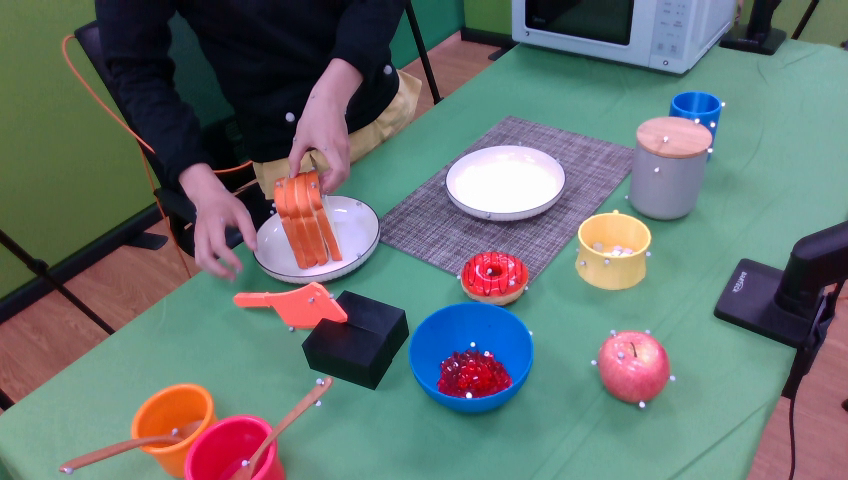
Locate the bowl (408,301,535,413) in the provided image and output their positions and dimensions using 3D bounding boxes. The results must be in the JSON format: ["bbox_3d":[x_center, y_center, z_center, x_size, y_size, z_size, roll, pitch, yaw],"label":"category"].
[{"bbox_3d":[0.060,0.156,0.739,0.151,0.077,0.150,-4,40,4],"label":"bowl"}]

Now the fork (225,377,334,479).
[{"bbox_3d":[-0.163,0.216,0.646,0.207,0.019,0.028,-49,43,16],"label":"fork"}]

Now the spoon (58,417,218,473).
[{"bbox_3d":[-0.304,0.221,0.661,0.041,0.195,0.021,19,92,27],"label":"spoon"}]

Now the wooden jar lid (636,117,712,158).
[{"bbox_3d":[0.377,-0.151,0.917,0.108,0.021,0.108,-2,41,3],"label":"wooden jar lid"}]

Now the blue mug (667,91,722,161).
[{"bbox_3d":[0.474,-0.207,1.079,0.082,0.106,0.116,4,42,13],"label":"blue mug"}]

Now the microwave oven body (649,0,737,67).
[{"bbox_3d":[0.475,-0.602,1.411,0.438,0.261,0.327,23,50,32],"label":"microwave oven body"}]

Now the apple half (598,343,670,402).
[{"bbox_3d":[0.247,0.161,0.710,0.081,0.075,0.053,2,47,5],"label":"apple half"}]

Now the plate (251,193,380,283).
[{"bbox_3d":[-0.173,-0.001,0.984,0.209,0.038,0.208,-4,41,4],"label":"plate"}]

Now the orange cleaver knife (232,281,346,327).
[{"bbox_3d":[-0.192,0.093,0.844,0.210,0.077,0.012,-7,31,38],"label":"orange cleaver knife"}]

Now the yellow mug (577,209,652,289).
[{"bbox_3d":[0.279,0.004,0.893,0.099,0.064,0.130,5,41,15],"label":"yellow mug"}]

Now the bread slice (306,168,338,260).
[{"bbox_3d":[-0.161,-0.045,0.953,0.018,0.135,0.106,-13,44,-5],"label":"bread slice"}]

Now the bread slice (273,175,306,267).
[{"bbox_3d":[-0.210,-0.037,0.948,0.019,0.132,0.104,-13,38,-2],"label":"bread slice"}]

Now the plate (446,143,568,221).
[{"bbox_3d":[0.142,-0.096,1.045,0.207,0.039,0.206,-4,40,4],"label":"plate"}]

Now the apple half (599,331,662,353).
[{"bbox_3d":[0.249,0.134,0.738,0.081,0.081,0.032,-2,46,7],"label":"apple half"}]

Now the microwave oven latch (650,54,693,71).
[{"bbox_3d":[0.531,-0.386,1.301,0.078,0.029,0.030,26,51,33],"label":"microwave oven latch"}]

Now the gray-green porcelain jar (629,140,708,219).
[{"bbox_3d":[0.383,-0.105,0.958,0.106,0.127,0.105,-4,41,4],"label":"gray-green porcelain jar"}]

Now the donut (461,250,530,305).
[{"bbox_3d":[0.103,0.053,0.872,0.099,0.048,0.098,-5,40,4],"label":"donut"}]

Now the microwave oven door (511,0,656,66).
[{"bbox_3d":[0.351,-0.539,1.348,0.353,0.245,0.039,24,50,31],"label":"microwave oven door"}]
